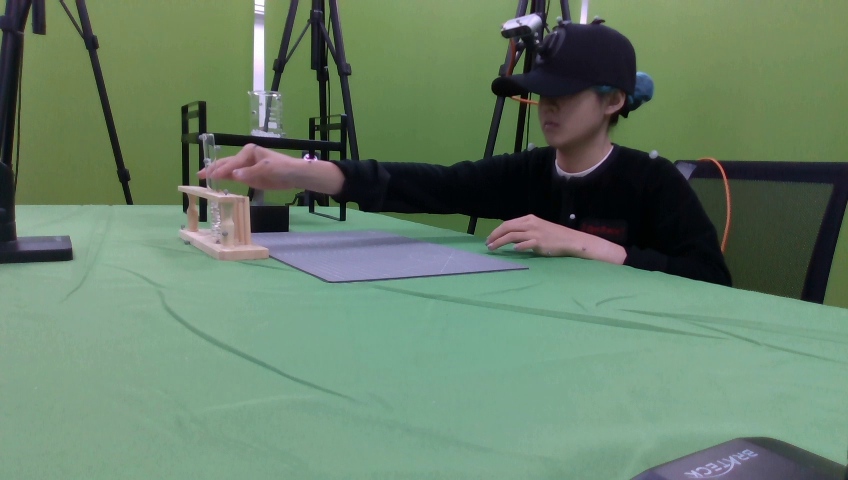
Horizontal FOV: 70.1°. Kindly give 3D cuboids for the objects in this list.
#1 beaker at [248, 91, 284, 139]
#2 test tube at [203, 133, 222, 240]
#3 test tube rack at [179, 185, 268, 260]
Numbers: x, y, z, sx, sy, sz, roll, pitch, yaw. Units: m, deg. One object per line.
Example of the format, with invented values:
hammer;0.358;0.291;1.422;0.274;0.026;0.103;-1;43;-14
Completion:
beaker;-0.353;-0.277;1.343;0.073;0.100;0.084;8;9;39
test tube;-0.296;-0.075;0.848;0.017;0.150;0.017;-2;6;1
test tube rack;-0.303;-0.032;0.898;0.067;0.085;0.241;-2;9;-33
